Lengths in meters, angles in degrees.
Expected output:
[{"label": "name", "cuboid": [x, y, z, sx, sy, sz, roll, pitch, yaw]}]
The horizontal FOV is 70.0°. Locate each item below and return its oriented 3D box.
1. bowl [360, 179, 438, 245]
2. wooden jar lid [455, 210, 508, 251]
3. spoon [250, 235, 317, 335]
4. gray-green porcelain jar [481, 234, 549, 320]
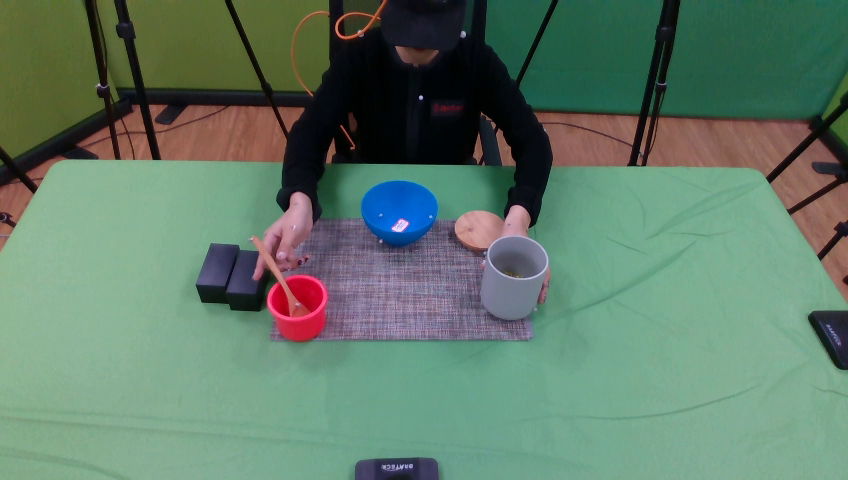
[{"label": "bowl", "cuboid": [-0.049, -0.042, 1.190, 0.151, 0.077, 0.150, 2, 46, -2]}, {"label": "wooden jar lid", "cuboid": [0.115, -0.018, 1.220, 0.108, 0.021, 0.107, 3, 47, -3]}, {"label": "spoon", "cuboid": [-0.237, 0.075, 1.019, 0.041, 0.021, 0.194, -32, 100, -32]}, {"label": "gray-green porcelain jar", "cuboid": [0.156, 0.070, 1.065, 0.106, 0.127, 0.105, 2, 46, -2]}]
